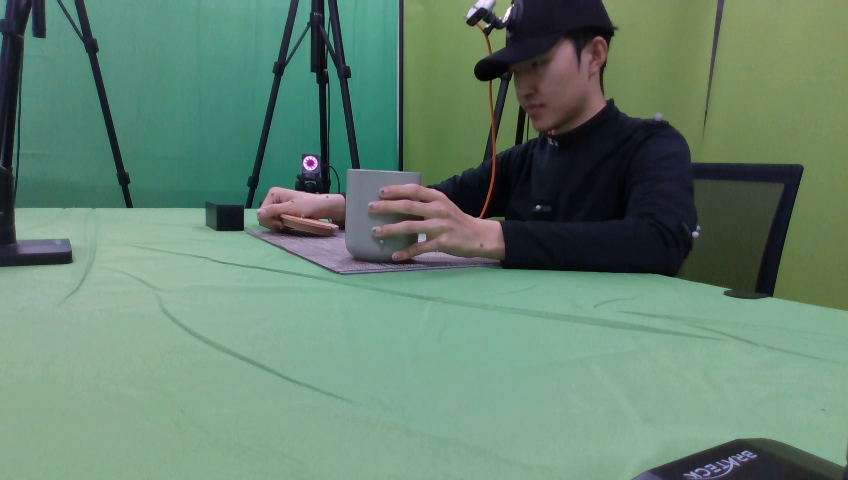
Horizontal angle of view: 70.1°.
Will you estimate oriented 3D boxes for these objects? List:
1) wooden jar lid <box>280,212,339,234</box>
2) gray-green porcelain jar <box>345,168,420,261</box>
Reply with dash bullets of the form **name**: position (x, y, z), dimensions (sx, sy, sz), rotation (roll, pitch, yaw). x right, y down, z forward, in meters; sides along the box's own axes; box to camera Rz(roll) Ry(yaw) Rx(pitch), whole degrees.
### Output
- **wooden jar lid**: position (-0.212, -0.031, 1.110), dimensions (0.108, 0.020, 0.108), rotation (15, 4, -1)
- **gray-green porcelain jar**: position (-0.059, -0.037, 0.858), dimensions (0.106, 0.126, 0.106), rotation (1, 7, 0)
